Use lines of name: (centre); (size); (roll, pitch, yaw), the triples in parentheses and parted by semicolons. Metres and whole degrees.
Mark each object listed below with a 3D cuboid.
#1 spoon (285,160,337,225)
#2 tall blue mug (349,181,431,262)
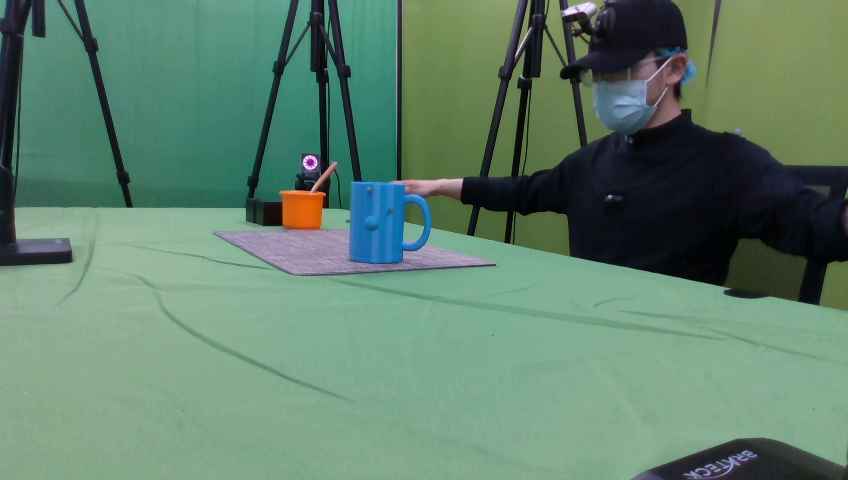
spoon: (-0.229, -0.101, 1.251); (0.041, 0.194, 0.022); (3, -38, 35)
tall blue mug: (-0.051, -0.028, 0.849); (0.108, 0.108, 0.077); (-1, 7, -22)
